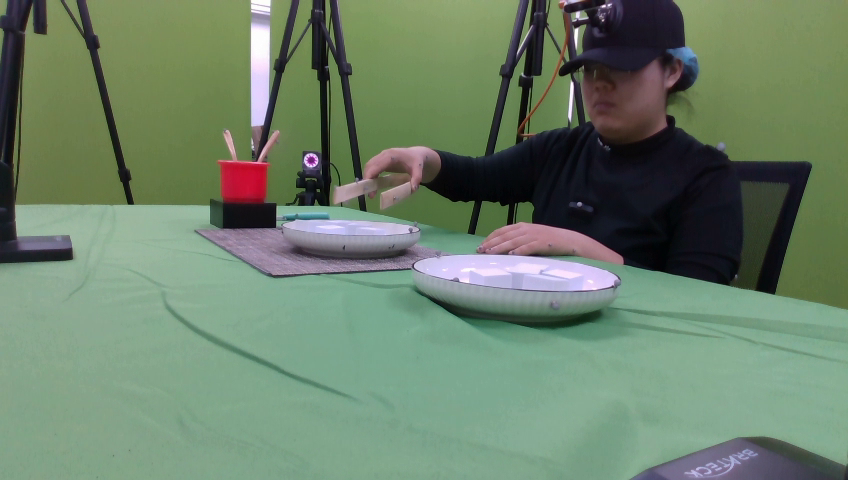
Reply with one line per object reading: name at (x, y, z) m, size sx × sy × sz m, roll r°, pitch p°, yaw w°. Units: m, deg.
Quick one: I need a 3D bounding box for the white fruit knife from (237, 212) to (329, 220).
white fruit knife at (-0.304, -0.050, 1.328) m, size 0.208 × 0.016 × 0.027 m, roll -3°, pitch -19°, yaw -29°

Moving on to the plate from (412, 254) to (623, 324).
plate at (0.091, 0.047, 0.609) m, size 0.209 × 0.038 × 0.209 m, roll 2°, pitch 7°, yaw 0°

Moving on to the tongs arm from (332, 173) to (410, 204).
tongs arm at (-0.081, -0.094, 1.058) m, size 0.051 × 0.026 × 0.385 m, roll 3°, pitch 10°, yaw 8°

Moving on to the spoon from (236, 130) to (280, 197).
spoon at (-0.321, -0.154, 1.192) m, size 0.041 × 0.193 × 0.022 m, roll 0°, pitch -37°, yaw 19°

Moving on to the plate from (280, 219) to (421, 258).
plate at (-0.108, -0.002, 0.902) m, size 0.208 × 0.039 × 0.207 m, roll 3°, pitch 7°, yaw 0°

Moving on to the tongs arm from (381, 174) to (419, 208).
tongs arm at (-0.039, -0.090, 1.052) m, size 0.028 × 0.028 × 0.388 m, roll 0°, pitch 10°, yaw 7°

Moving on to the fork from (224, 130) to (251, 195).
fork at (-0.372, -0.155, 1.193) m, size 0.028 × 0.018 × 0.206 m, roll -17°, pitch 54°, yaw -13°
